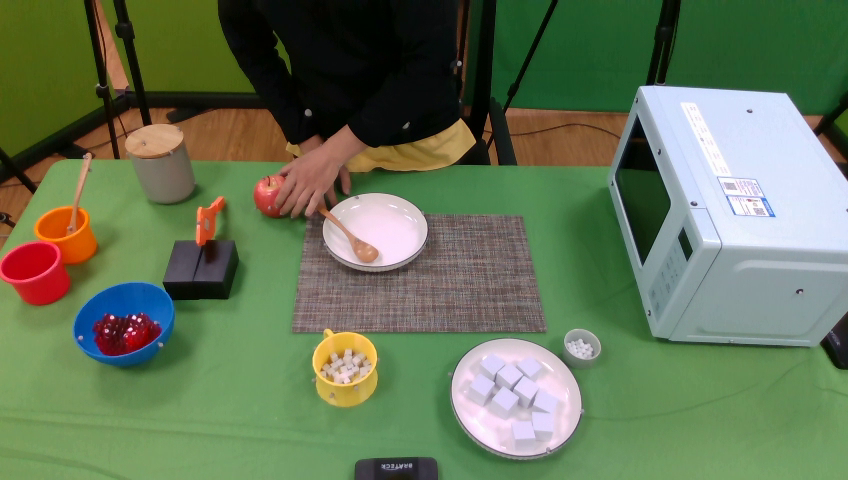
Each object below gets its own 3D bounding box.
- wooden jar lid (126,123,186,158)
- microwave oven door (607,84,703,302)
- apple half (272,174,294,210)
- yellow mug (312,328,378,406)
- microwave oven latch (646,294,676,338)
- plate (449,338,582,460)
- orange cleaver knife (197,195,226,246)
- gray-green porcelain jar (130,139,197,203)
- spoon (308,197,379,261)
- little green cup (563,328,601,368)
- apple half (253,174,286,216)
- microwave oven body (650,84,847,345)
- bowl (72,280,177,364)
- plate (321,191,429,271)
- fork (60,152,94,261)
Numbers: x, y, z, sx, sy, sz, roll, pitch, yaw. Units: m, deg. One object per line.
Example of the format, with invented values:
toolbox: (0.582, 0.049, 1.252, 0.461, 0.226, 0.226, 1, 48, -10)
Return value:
wooden jar lid: (-0.519, -0.190, 1.179, 0.108, 0.021, 0.107, 2, 44, -2)
microwave oven door: (0.424, -0.096, 1.137, 0.039, 0.245, 0.353, 3, 46, -1)
apple half: (-0.282, -0.098, 1.229, 0.033, 0.081, 0.081, -19, 50, -25)
yellow mug: (-0.132, 0.193, 0.971, 0.100, 0.064, 0.130, -22, 51, -22)
microwave oven latch: (0.412, 0.133, 1.061, 0.030, 0.029, 0.078, 4, 46, 1)
plate: (0.141, 0.251, 0.956, 0.208, 0.039, 0.206, 2, 46, -2)
orange cleaver knife: (-0.405, -0.041, 1.157, 0.012, 0.077, 0.210, 2, 14, -7)
gray-green porcelain jar: (-0.522, -0.148, 1.225, 0.106, 0.127, 0.105, 2, 47, -2)
spoon: (-0.159, -0.025, 1.172, 0.041, 0.022, 0.193, -41, 72, -20)
little green cup: (0.265, 0.185, 1.025, 0.061, 0.039, 0.061, 1, 45, -1)
apple half: (-0.314, -0.086, 1.219, 0.053, 0.075, 0.080, -21, 55, -19)
microwave oven body: (0.569, -0.054, 1.116, 0.326, 0.261, 0.439, 2, 46, -1)
bowl: (-0.473, 0.147, 0.982, 0.151, 0.077, 0.150, 2, 46, -2)
plate: (-0.094, -0.015, 1.185, 0.209, 0.038, 0.208, 2, 46, -2)
fork: (-0.638, -0.063, 1.119, 0.028, 0.018, 0.207, 12, 90, 9)
